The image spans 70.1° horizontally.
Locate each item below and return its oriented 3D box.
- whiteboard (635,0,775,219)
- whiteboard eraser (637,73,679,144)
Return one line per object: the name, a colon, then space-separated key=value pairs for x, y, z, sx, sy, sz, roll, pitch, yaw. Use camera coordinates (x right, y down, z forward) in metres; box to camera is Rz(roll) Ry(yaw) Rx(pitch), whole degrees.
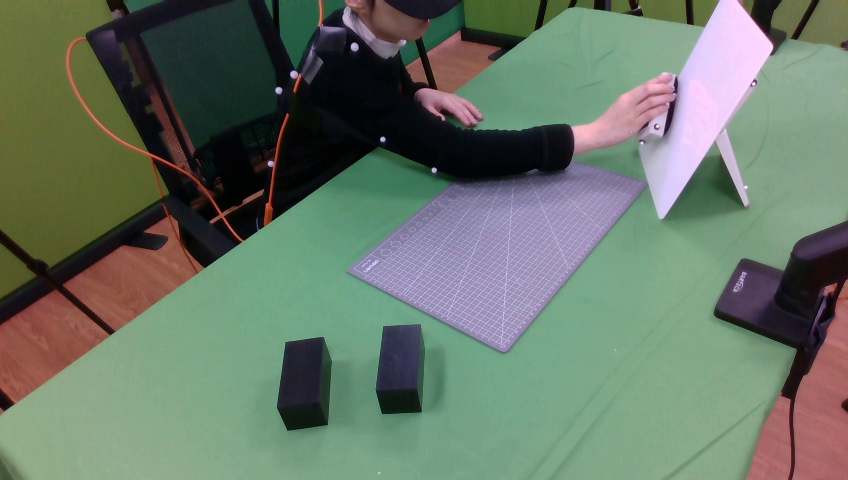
whiteboard: x=0.486 y=-0.192 z=0.956 sx=0.144 sy=0.305 sz=0.216 roll=14 pitch=41 yaw=-4
whiteboard eraser: x=0.398 y=-0.221 z=1.024 sx=0.042 sy=0.055 sz=0.112 roll=16 pitch=84 yaw=-11
